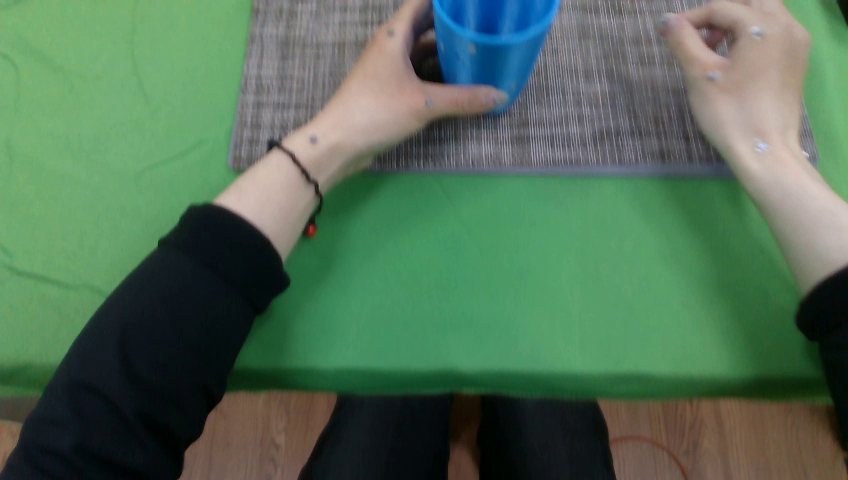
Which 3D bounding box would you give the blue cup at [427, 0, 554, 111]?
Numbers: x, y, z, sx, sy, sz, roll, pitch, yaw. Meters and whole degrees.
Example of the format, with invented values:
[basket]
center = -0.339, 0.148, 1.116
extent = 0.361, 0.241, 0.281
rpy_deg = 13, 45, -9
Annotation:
[blue cup]
center = 0.044, -0.148, 0.444
extent = 0.093, 0.101, 0.092
rpy_deg = 0, 67, -1
